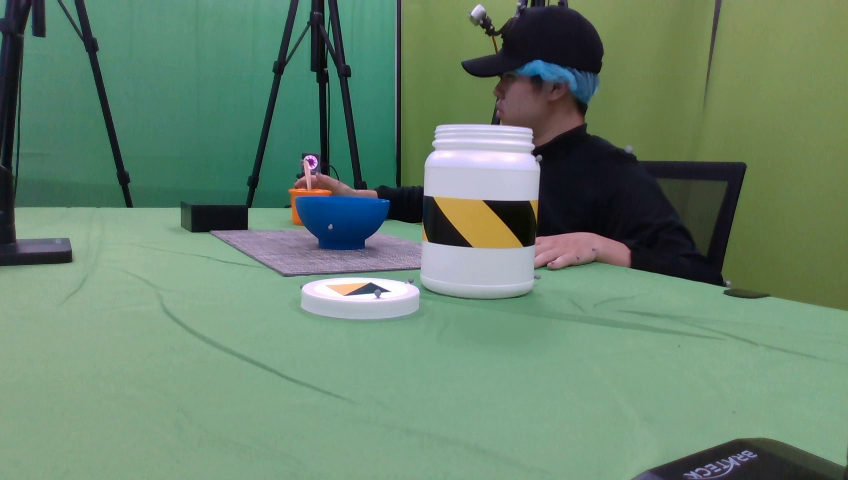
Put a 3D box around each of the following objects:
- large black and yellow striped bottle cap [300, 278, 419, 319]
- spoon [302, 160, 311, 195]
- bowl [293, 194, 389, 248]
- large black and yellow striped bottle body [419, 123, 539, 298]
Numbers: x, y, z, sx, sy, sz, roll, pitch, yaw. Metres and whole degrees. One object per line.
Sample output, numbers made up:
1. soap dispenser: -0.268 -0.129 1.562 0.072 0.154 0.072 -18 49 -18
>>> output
1. large black and yellow striped bottle cap: -0.062 0.055 0.588 0.115 0.019 0.115 1 6 0
2. spoon: -0.257 -0.113 1.341 0.042 0.021 0.193 4 51 -20
3. bowl: -0.132 -0.030 0.962 0.151 0.077 0.151 2 7 0
4. large black and yellow striped bottle body: 0.062 -0.036 0.683 0.131 0.184 0.130 2 7 0
